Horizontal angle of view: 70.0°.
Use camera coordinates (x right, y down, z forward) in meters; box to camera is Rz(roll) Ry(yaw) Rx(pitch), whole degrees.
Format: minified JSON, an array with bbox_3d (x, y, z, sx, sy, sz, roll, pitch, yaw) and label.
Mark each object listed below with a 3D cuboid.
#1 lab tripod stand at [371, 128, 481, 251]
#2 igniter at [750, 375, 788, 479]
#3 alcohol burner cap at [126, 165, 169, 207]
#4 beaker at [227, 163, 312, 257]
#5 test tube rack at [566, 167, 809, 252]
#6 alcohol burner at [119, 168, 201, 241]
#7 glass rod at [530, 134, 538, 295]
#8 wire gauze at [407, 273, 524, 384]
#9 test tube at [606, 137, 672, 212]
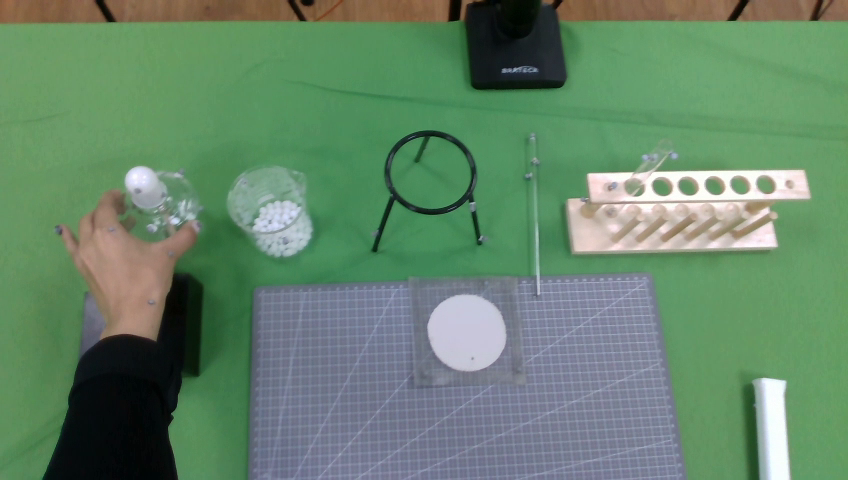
[{"bbox_3d":[0.001,-0.051,0.642,0.148,0.132,0.147,1,72,-2],"label":"lab tripod stand"},{"bbox_3d":[0.359,0.279,0.623,0.057,0.025,0.275,10,73,-12],"label":"igniter"},{"bbox_3d":[-0.261,-0.053,0.570,0.034,0.048,0.033,3,75,-12],"label":"alcohol burner cap"},{"bbox_3d":[-0.156,-0.028,0.641,0.084,0.100,0.073,-40,80,-15],"label":"beaker"},{"bbox_3d":[0.293,-0.033,0.683,0.243,0.085,0.066,-1,73,-4],"label":"test tube rack"},{"bbox_3d":[-0.267,-0.042,0.604,0.078,0.119,0.077,3,72,-8],"label":"alcohol burner"},{"bbox_3d":[0.129,-0.033,0.710,0.008,0.008,0.198,3,74,-4],"label":"glass rod"},{"bbox_3d":[0.045,0.095,0.663,0.125,0.011,0.120,0,72,-3],"label":"wire gauze"},{"bbox_3d":[0.222,-0.065,0.636,0.017,0.151,0.017,1,69,-2],"label":"test tube"}]
